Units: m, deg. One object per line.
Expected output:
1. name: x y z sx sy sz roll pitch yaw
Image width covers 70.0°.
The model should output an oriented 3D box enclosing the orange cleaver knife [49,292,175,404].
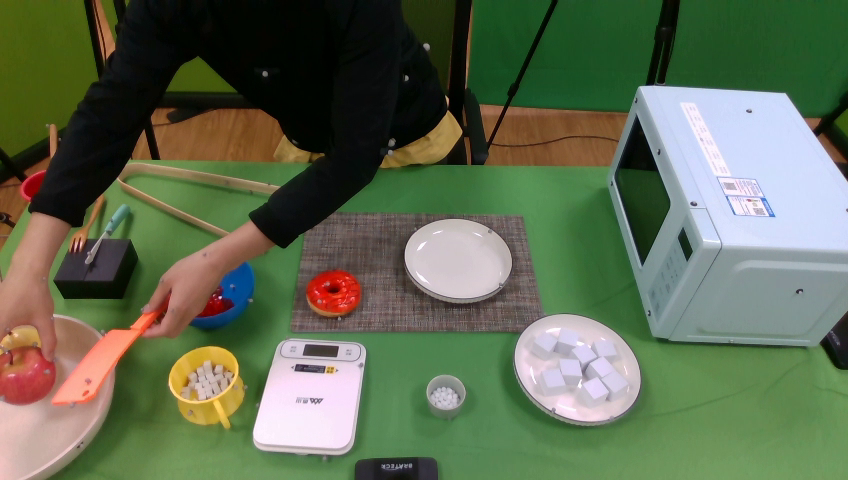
1. orange cleaver knife: -0.445 0.152 0.874 0.077 0.012 0.210 5 43 24

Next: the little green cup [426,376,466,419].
1. little green cup: 0.033 0.248 0.950 0.061 0.039 0.061 2 46 -2

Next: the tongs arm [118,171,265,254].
1. tongs arm: -0.473 -0.054 1.211 0.386 0.028 0.028 23 57 17

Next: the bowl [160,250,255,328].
1. bowl: -0.362 0.098 1.040 0.151 0.077 0.150 2 45 -2

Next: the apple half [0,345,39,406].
1. apple half: -0.580 0.196 0.856 0.053 0.075 0.080 -14 47 -18

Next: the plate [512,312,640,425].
1. plate: 0.246 0.213 0.999 0.208 0.039 0.206 2 46 -2

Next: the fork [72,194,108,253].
1. fork: -0.634 -0.036 1.158 0.028 0.019 0.206 -8 32 -8

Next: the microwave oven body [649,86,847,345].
1. microwave oven body: 0.567 -0.053 1.118 0.326 0.261 0.439 2 45 -1

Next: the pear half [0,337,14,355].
1. pear half: -0.631 0.185 0.921 0.070 0.088 0.031 32 48 21

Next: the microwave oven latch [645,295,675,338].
1. microwave oven latch: 0.411 0.134 1.061 0.030 0.029 0.078 3 45 0

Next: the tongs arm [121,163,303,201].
1. tongs arm: -0.444 -0.114 1.266 0.384 0.026 0.050 12 51 7

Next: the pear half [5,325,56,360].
1. pear half: -0.608 0.158 0.935 0.076 0.110 0.056 32 51 19

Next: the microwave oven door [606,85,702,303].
1. microwave oven door: 0.422 -0.094 1.140 0.039 0.245 0.353 3 46 -1

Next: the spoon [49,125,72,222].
1. spoon: -0.718 -0.131 1.189 0.041 0.021 0.193 -4 91 -6

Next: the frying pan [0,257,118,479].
1. frying pan: -0.647 0.164 0.936 0.307 0.103 0.485 -19 58 -22

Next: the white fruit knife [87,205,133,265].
1. white fruit knife: -0.584 -0.013 1.129 0.016 0.027 0.206 0 32 -5

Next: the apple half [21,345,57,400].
1. apple half: -0.544 0.188 0.868 0.033 0.081 0.080 -14 49 -17

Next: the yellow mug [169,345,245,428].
1. yellow mug: -0.322 0.230 0.922 0.100 0.064 0.130 -24 53 -25

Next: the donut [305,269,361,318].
1. donut: -0.160 0.094 1.075 0.099 0.048 0.098 4 45 -3

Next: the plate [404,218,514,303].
1. plate: 0.065 0.042 1.146 0.209 0.038 0.208 2 46 -2

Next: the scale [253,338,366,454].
1. scale: -0.175 0.236 0.951 0.149 0.032 0.199 4 46 -1
